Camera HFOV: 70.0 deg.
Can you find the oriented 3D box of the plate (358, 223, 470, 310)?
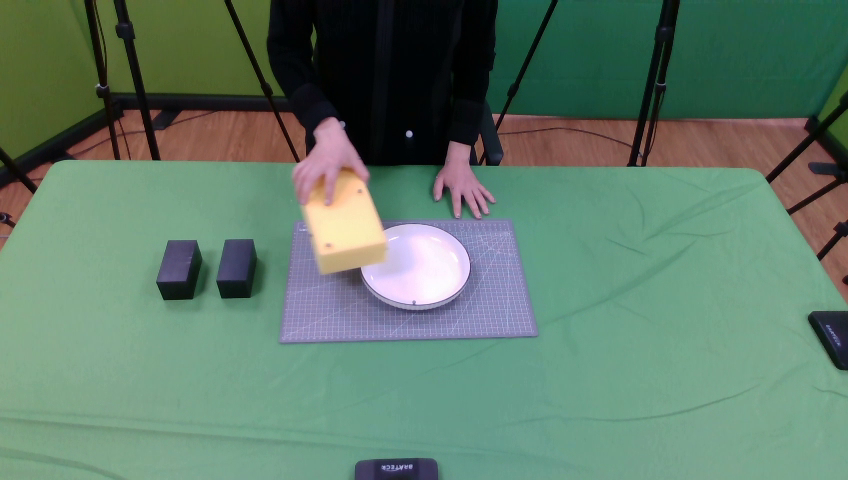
[{"bbox_3d":[-0.019,0.052,1.132,0.209,0.038,0.208,2,46,-2],"label":"plate"}]

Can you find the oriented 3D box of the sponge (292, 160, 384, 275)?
[{"bbox_3d":[-0.158,-0.045,1.094,0.118,0.061,0.205,-13,55,-16],"label":"sponge"}]
